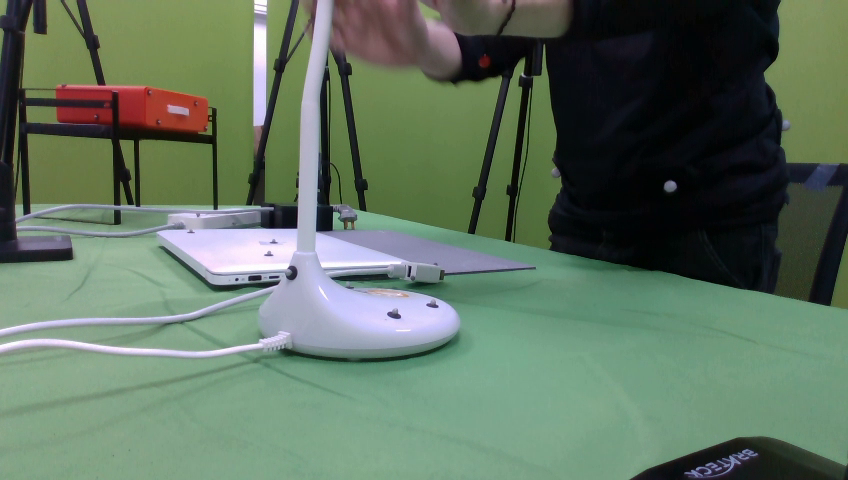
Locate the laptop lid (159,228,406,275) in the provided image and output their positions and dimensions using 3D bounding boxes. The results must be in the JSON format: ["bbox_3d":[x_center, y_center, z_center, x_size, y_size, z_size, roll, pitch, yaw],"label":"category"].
[{"bbox_3d":[-0.201,0.007,0.806,0.243,0.013,0.355,-1,8,-31],"label":"laptop lid"}]

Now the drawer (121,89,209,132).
[{"bbox_3d":[-0.595,-0.268,1.263,0.211,0.073,0.195,4,8,15],"label":"drawer"}]

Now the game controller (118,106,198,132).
[{"bbox_3d":[-0.554,-0.252,1.255,0.097,0.051,0.155,7,11,19],"label":"game controller"}]

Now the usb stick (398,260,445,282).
[{"bbox_3d":[-0.001,0.036,0.696,0.027,0.021,0.059,9,1,43],"label":"usb stick"}]

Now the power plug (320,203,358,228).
[{"bbox_3d":[-0.170,-0.046,1.210,0.073,0.052,0.035,-5,-16,-7],"label":"power plug"}]

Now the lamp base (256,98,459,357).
[{"bbox_3d":[-0.055,-0.013,0.463,0.160,0.180,0.180,6,11,27],"label":"lamp base"}]

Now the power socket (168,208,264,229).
[{"bbox_3d":[-0.381,-0.038,1.128,0.072,0.032,0.227,4,8,16],"label":"power socket"}]

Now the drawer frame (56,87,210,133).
[{"bbox_3d":[-0.598,-0.269,1.261,0.213,0.082,0.202,4,8,14],"label":"drawer frame"}]

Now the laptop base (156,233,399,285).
[{"bbox_3d":[-0.204,0.019,0.806,0.237,0.023,0.352,0,7,-33],"label":"laptop base"}]
